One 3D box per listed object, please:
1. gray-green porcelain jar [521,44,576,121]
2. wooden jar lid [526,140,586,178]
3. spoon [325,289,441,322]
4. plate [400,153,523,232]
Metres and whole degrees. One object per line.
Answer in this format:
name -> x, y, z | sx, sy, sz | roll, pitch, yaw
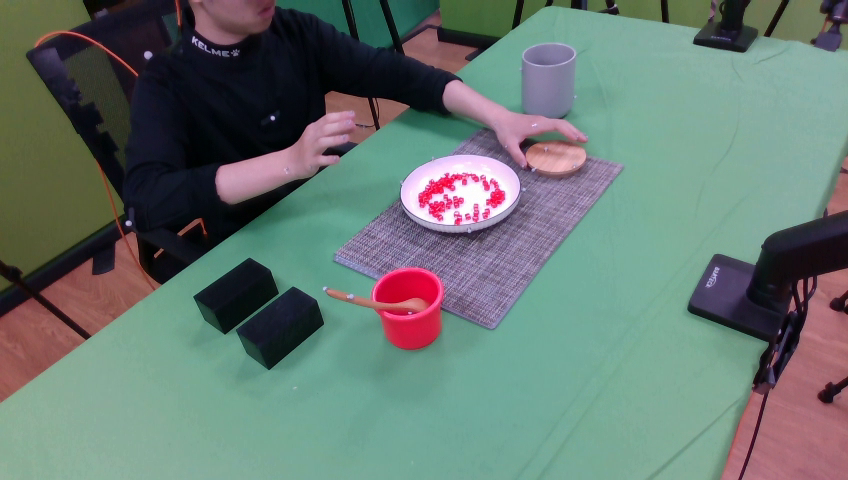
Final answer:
gray-green porcelain jar -> 0.249, -0.313, 1.219 | 0.106, 0.127, 0.105 | -4, 41, 4
wooden jar lid -> 0.240, -0.147, 1.103 | 0.108, 0.021, 0.108 | -4, 42, 4
spoon -> -0.047, 0.084, 0.776 | 0.195, 0.021, 0.041 | 12, 26, -42
plate -> 0.065, -0.078, 1.034 | 0.207, 0.039, 0.206 | -4, 41, 4
